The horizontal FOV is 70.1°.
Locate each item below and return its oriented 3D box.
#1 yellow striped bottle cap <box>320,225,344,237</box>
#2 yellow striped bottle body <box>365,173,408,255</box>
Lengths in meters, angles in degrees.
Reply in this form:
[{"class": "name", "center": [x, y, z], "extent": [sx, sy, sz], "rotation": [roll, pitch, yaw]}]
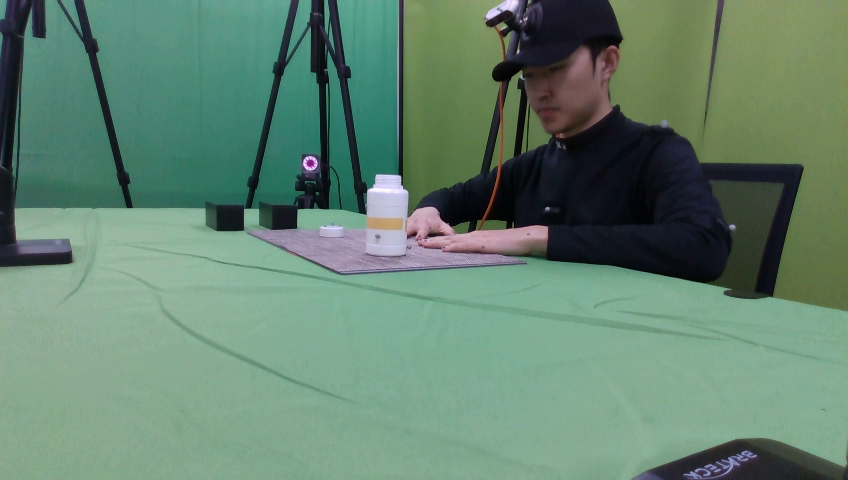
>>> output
[{"class": "yellow striped bottle cap", "center": [-0.169, -0.017, 1.108], "extent": [0.044, 0.018, 0.044], "rotation": [0, 6, 0]}, {"class": "yellow striped bottle body", "center": [-0.055, -0.040, 0.905], "extent": [0.063, 0.120, 0.063], "rotation": [2, 7, 0]}]
